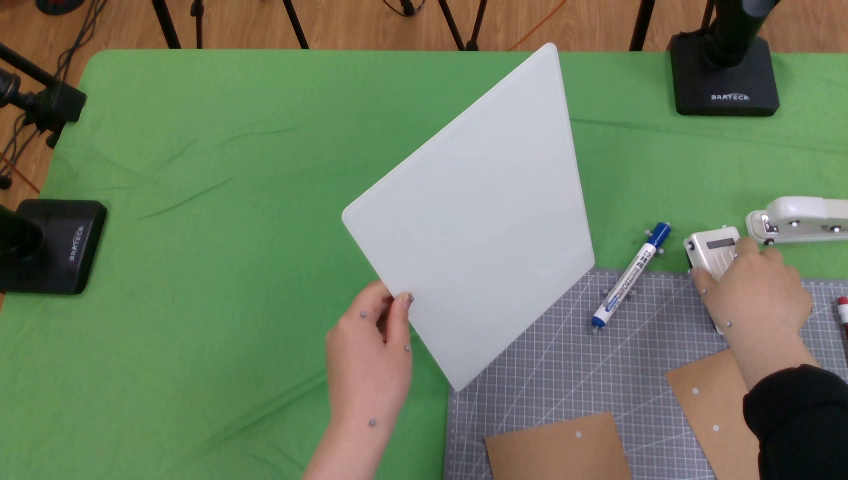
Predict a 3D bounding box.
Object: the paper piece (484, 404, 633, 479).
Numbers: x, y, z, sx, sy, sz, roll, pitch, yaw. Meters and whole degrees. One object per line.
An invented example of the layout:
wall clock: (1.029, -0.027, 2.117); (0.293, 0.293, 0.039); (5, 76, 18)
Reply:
paper piece: (0.140, 0.243, 0.602); (0.135, 0.004, 0.134); (-12, 68, -3)

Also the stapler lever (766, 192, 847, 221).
stapler lever: (0.436, -0.037, 0.661); (0.118, 0.040, 0.026); (-3, 70, 3)

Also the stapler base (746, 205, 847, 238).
stapler base: (0.436, -0.027, 0.683); (0.130, 0.024, 0.041); (-3, 70, 1)

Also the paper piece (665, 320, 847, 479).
paper piece: (0.338, 0.168, 0.618); (0.136, 0.009, 0.137); (-20, 69, 1)

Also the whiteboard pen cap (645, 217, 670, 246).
whiteboard pen cap: (0.266, -0.009, 0.689); (0.018, 0.018, 0.033); (32, 72, 16)

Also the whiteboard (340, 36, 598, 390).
whiteboard: (0.031, -0.032, 0.598); (0.217, 0.309, 0.142); (-40, 49, -11)

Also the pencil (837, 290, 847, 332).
pencil: (0.448, 0.144, 0.616); (0.012, 0.012, 0.192); (-2, 69, 4)

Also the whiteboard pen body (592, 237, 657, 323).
whiteboard pen body: (0.229, 0.034, 0.675); (0.017, 0.017, 0.140); (35, 73, 17)

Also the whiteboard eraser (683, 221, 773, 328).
whiteboard eraser: (0.324, 0.037, 0.653); (0.055, 0.042, 0.112); (-11, 68, -1)
